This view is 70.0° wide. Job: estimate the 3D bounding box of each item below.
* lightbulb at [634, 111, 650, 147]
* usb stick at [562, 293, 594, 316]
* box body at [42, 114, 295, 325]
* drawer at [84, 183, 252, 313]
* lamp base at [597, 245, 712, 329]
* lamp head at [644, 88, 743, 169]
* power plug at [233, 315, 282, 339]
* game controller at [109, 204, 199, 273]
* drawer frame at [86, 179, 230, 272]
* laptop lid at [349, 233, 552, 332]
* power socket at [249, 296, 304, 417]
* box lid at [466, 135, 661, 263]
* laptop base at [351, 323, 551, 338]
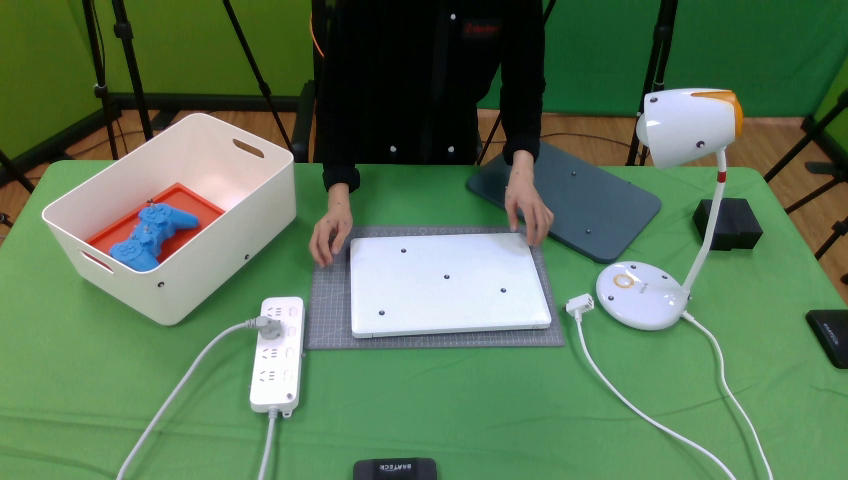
[{"bbox_3d":[0.348,-0.163,0.852,0.059,0.060,0.107,-36,19,-32],"label":"lightbulb"},{"bbox_3d":[0.275,0.118,1.088,0.021,0.059,0.027,39,44,-28],"label":"usb stick"},{"bbox_3d":[-0.437,-0.046,1.110,0.253,0.161,0.363,24,49,19],"label":"box body"},{"bbox_3d":[-0.457,0.008,1.099,0.194,0.073,0.211,29,49,21],"label":"drawer"},{"bbox_3d":[0.418,0.051,1.071,0.179,0.181,0.160,22,49,13],"label":"lamp base"},{"bbox_3d":[0.380,-0.161,0.851,0.122,0.113,0.112,-4,42,25],"label":"lamp head"},{"bbox_3d":[-0.271,0.144,1.000,0.072,0.053,0.035,5,47,4],"label":"power plug"},{"bbox_3d":[-0.467,-0.005,1.044,0.097,0.052,0.154,8,45,10],"label":"game controller"},{"bbox_3d":[-0.453,0.010,1.100,0.201,0.083,0.213,28,55,23],"label":"drawer frame"},{"bbox_3d":[0.040,0.070,1.119,0.357,0.013,0.240,-1,44,-5],"label":"laptop lid"},{"bbox_3d":[-0.239,0.182,0.996,0.072,0.033,0.225,-2,47,-5],"label":"power socket"},{"bbox_3d":[0.306,-0.102,1.327,0.370,0.015,0.263,32,52,25],"label":"box lid"},{"bbox_3d":[0.040,0.080,1.125,0.355,0.023,0.234,-2,43,-6],"label":"laptop base"}]
